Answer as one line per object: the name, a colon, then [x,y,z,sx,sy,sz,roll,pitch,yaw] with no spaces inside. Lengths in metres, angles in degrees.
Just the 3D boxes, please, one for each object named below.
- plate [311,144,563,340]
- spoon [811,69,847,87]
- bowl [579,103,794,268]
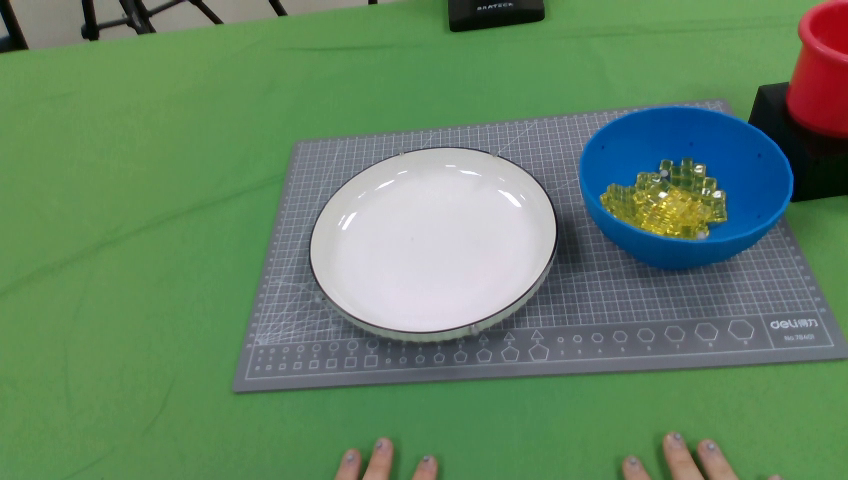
plate: [0.011,0.000,0.513,0.207,0.039,0.205,-5,49,6]
spoon: [0.335,-0.129,0.433,0.041,0.021,0.193,2,6,9]
bowl: [0.197,-0.031,0.479,0.151,0.077,0.150,-5,49,6]
